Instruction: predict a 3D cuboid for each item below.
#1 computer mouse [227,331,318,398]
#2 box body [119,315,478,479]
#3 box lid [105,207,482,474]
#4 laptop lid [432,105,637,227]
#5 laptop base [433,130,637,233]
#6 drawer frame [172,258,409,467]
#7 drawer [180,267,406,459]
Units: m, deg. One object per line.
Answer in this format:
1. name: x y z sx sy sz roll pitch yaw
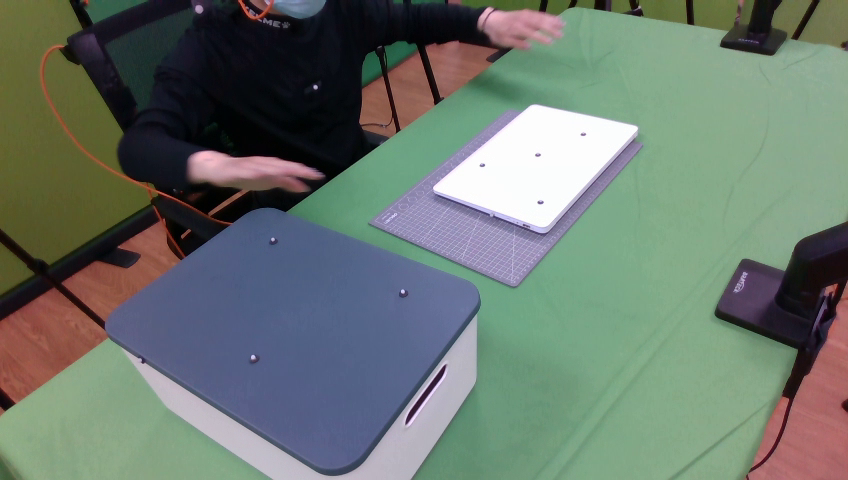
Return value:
1. computer mouse: -0.201 0.159 0.804 0.118 0.041 0.062 -29 40 -33
2. box body: -0.140 0.136 0.725 0.361 0.161 0.254 19 47 28
3. box lid: -0.149 0.079 0.677 0.369 0.015 0.264 20 46 28
4. laptop lid: 0.207 -0.152 1.105 0.239 0.013 0.358 23 49 34
5. laptop base: 0.210 -0.142 1.111 0.233 0.023 0.355 21 47 34
6. drawer frame: -0.164 0.142 0.767 0.212 0.083 0.202 24 51 28
7. drawer: -0.162 0.145 0.771 0.210 0.073 0.195 22 45 32
